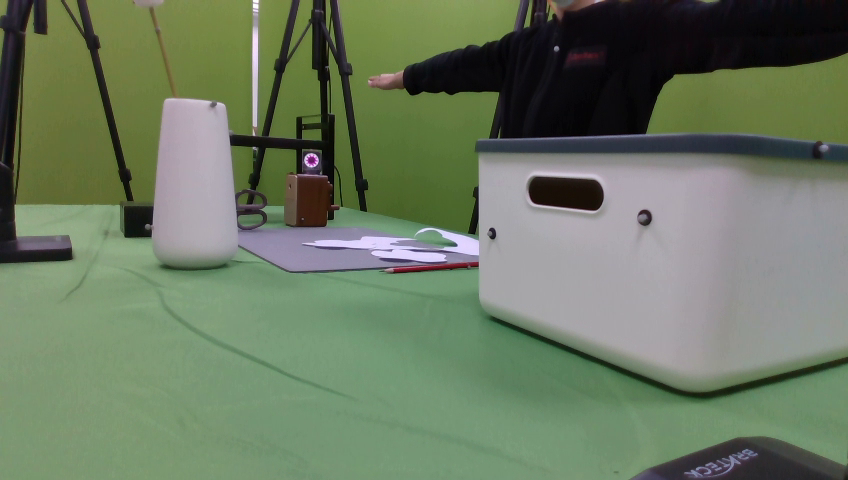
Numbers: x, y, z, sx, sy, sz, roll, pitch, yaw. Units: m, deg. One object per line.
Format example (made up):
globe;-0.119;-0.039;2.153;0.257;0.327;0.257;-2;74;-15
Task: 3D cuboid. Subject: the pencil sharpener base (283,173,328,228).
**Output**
pencil sharpener base;-0.239;-0.081;1.231;0.077;0.107;0.061;-2;8;-36

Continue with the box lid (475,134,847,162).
box lid;0.256;-0.073;0.528;0.373;0.015;0.262;-2;8;-31

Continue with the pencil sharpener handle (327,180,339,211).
pencil sharpener handle;-0.194;-0.094;1.256;0.031;0.067;0.036;-2;-5;-36

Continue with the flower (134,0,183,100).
flower;-0.282;-0.147;0.713;0.038;0.362;0.044;-23;24;-31

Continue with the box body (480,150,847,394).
box body;0.254;0.002;0.539;0.366;0.160;0.253;-2;8;-31

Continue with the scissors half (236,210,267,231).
scissors half;-0.367;-0.042;1.071;0.176;0.040;0.012;7;11;-31

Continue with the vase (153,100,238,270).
vase;-0.278;-0.066;0.736;0.098;0.200;0.098;2;9;0

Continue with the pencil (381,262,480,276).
pencil;0.031;0.037;0.794;0.195;0.012;0.012;-4;10;-31

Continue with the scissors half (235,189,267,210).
scissors half;-0.365;-0.062;1.067;0.176;0.040;0.013;-12;15;-28
